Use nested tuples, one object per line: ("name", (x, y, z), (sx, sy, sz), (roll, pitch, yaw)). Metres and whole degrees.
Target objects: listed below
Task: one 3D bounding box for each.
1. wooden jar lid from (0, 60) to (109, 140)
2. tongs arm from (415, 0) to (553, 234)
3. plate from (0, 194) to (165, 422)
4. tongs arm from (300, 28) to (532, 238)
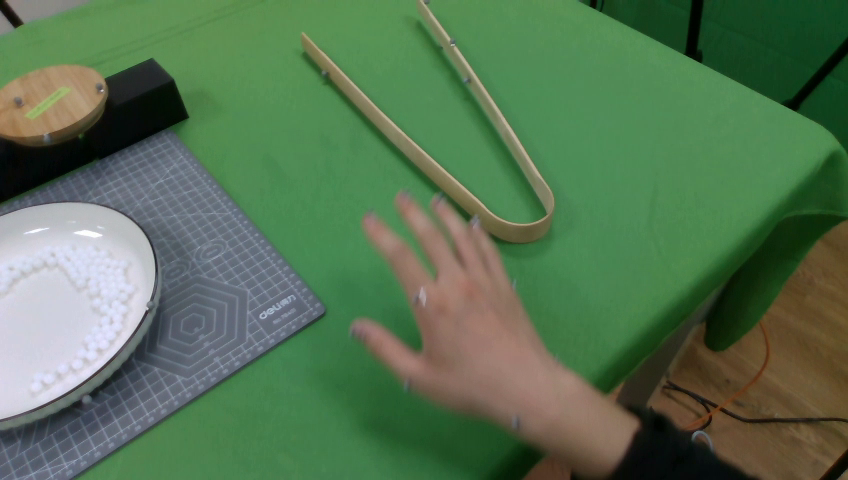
("wooden jar lid", (-0.356, -0.133, 0.580), (0.108, 0.021, 0.107), (0, 52, 0))
("tongs arm", (0.044, -0.158, 0.646), (0.051, 0.027, 0.380), (-19, 55, -12))
("plate", (-0.310, 0.050, 0.482), (0.209, 0.038, 0.207), (0, 52, 1))
("tongs arm", (-0.030, -0.125, 0.626), (0.028, 0.028, 0.383), (-29, 57, -23))
